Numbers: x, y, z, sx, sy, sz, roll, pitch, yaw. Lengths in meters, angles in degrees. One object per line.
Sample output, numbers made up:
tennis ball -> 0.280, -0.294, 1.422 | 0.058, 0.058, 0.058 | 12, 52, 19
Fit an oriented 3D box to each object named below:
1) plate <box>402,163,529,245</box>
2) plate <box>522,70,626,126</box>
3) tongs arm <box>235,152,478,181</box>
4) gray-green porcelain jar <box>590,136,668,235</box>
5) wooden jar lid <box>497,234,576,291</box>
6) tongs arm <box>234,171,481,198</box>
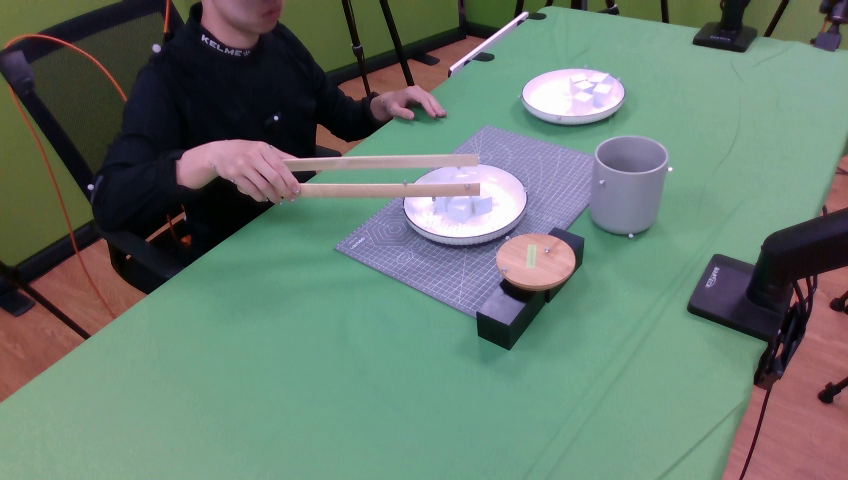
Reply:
plate -> 0.069, -0.056, 1.008 | 0.209, 0.038, 0.208 | -4, 40, 4
plate -> 0.308, -0.290, 1.251 | 0.207, 0.039, 0.206 | -4, 40, 4
tongs arm -> -0.105, -0.120, 0.974 | 0.388, 0.028, 0.028 | -3, 48, -2
gray-green porcelain jar -> 0.314, -0.080, 0.937 | 0.106, 0.127, 0.105 | -4, 41, 4
wooden jar lid -> 0.155, 0.032, 0.834 | 0.108, 0.021, 0.108 | -5, 40, 5
tongs arm -> -0.105, -0.088, 0.940 | 0.385, 0.026, 0.050 | -2, 45, 0
